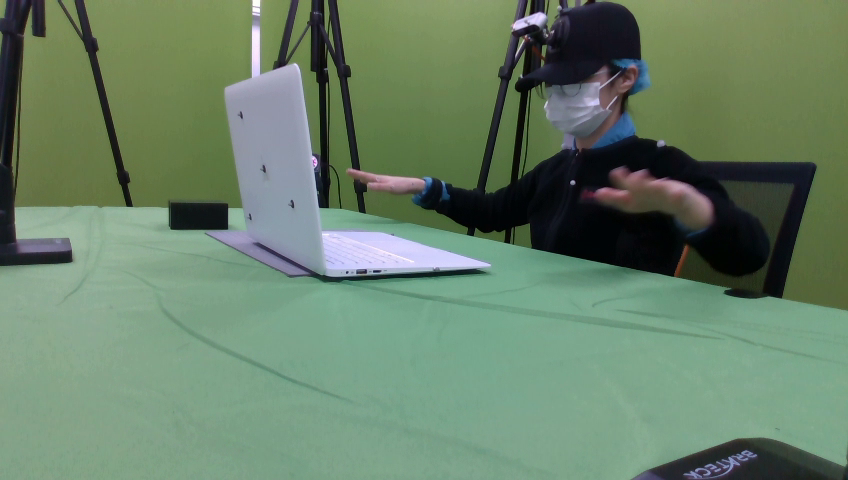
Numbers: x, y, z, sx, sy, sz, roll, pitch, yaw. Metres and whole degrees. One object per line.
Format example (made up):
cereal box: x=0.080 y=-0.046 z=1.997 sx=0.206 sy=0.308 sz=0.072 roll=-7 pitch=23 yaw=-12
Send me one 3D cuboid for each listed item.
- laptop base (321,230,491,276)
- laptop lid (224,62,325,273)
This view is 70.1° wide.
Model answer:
laptop base: x=-0.095 y=0.015 z=0.888 sx=0.237 sy=0.023 sz=0.352 roll=2 pitch=7 yaw=-30
laptop lid: x=-0.210 y=-0.097 z=0.804 sx=0.013 sy=0.241 sz=0.355 roll=-12 pitch=15 yaw=-28
